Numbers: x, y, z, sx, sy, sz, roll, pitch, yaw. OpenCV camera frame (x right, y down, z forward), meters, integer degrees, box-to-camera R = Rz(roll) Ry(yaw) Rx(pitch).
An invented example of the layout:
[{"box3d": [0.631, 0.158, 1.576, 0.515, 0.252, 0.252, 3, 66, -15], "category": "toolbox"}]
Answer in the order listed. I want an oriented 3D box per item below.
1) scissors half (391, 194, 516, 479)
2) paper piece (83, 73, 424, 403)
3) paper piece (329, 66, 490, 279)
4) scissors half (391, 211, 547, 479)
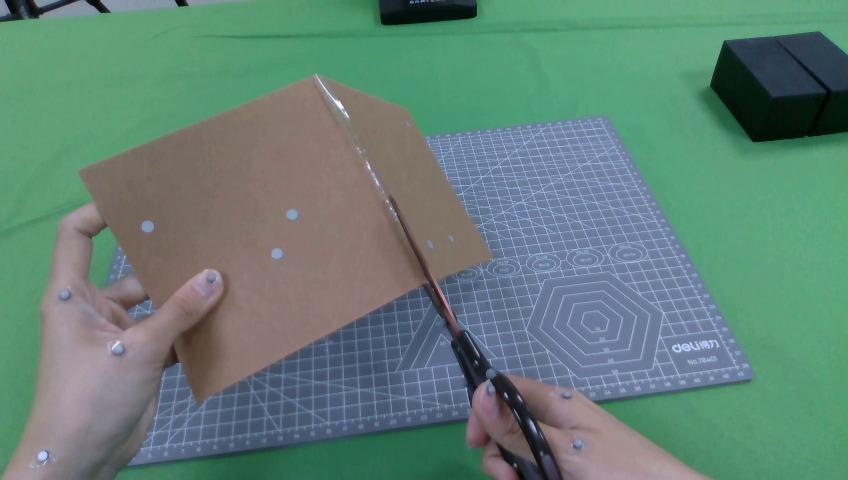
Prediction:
[{"box3d": [0.017, 0.056, 0.336, 0.013, 0.040, 0.175, -24, 94, -12], "category": "scissors half"}, {"box3d": [-0.086, -0.005, 0.327, 0.136, 0.004, 0.135, -27, 92, -15], "category": "paper piece"}, {"box3d": [-0.004, -0.041, 0.401, 0.008, 0.138, 0.135, -27, 84, 18], "category": "paper piece"}, {"box3d": [0.017, 0.048, 0.312, 0.013, 0.040, 0.173, -25, 56, -7], "category": "scissors half"}]
